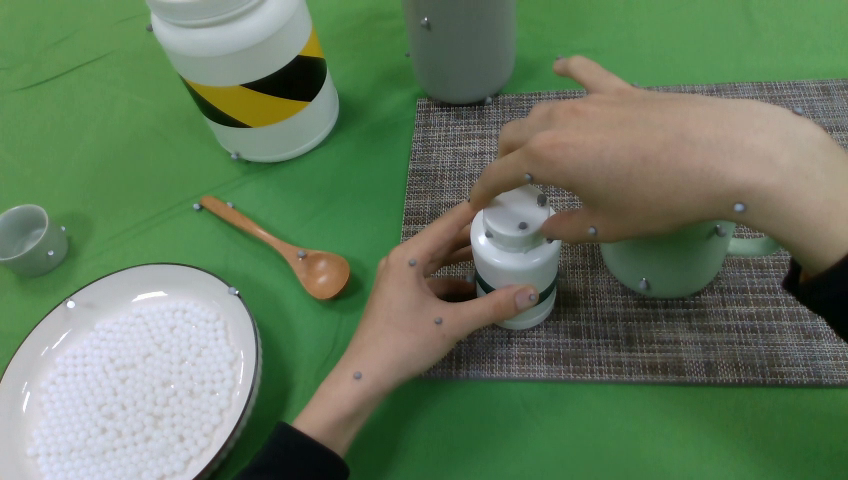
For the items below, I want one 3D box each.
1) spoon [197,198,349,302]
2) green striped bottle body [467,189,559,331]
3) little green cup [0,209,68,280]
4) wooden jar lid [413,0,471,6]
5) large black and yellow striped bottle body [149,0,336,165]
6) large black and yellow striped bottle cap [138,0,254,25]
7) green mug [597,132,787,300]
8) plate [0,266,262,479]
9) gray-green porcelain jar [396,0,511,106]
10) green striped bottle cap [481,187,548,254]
[{"bbox_3d":[-0.140,0.001,0.540,0.192,0.022,0.041,29,85,23],"label":"spoon"},{"bbox_3d":[0.065,0.014,0.438,0.063,0.120,0.062,-4,57,7],"label":"green striped bottle body"},{"bbox_3d":[-0.367,0.006,0.561,0.061,0.039,0.061,-3,57,5],"label":"little green cup"},{"bbox_3d":[0.023,-0.241,0.533,0.108,0.021,0.107,-6,55,9],"label":"wooden jar lid"},{"bbox_3d":[-0.165,-0.173,0.559,0.130,0.186,0.129,-4,57,6],"label":"large black and yellow striped bottle body"},{"bbox_3d":[-0.178,-0.217,0.489,0.115,0.019,0.114,-3,56,5],"label":"large black and yellow striped bottle cap"},{"bbox_3d":[0.196,-0.013,0.446,0.125,0.106,0.092,8,58,13],"label":"green mug"},{"bbox_3d":[-0.223,0.117,0.468,0.209,0.038,0.207,-4,57,6],"label":"plate"},{"bbox_3d":[0.031,-0.203,0.583,0.106,0.128,0.105,-4,53,5],"label":"gray-green porcelain jar"},{"bbox_3d":[0.059,-0.013,0.395,0.044,0.020,0.044,-6,50,7],"label":"green striped bottle cap"}]
